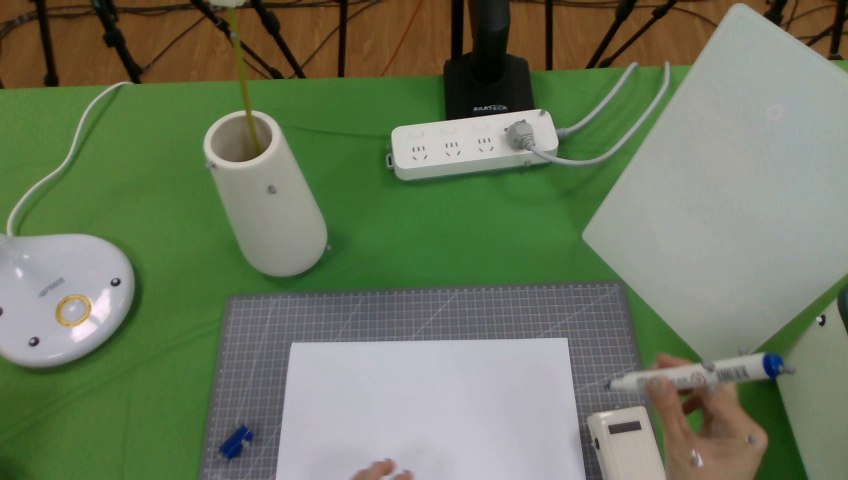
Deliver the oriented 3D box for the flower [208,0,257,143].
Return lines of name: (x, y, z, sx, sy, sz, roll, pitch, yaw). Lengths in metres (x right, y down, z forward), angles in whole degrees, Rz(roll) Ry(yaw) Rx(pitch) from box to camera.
flower: (-0.163, -0.104, 0.574, 0.038, 0.365, 0.043, -12, 42, -14)

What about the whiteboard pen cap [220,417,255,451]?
whiteboard pen cap: (-0.185, 0.191, 0.600, 0.018, 0.018, 0.033, 34, 67, 19)

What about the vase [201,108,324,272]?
vase: (-0.168, -0.046, 0.636, 0.098, 0.201, 0.097, -1, 59, 2)

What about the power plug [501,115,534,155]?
power plug: (0.113, -0.121, 0.744, 0.035, 0.053, 0.072, 1, 61, 2)

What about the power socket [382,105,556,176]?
power socket: (0.059, -0.128, 0.775, 0.227, 0.033, 0.071, -7, 61, -4)

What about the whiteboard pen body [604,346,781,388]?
whiteboard pen body: (0.178, 0.092, 0.423, 0.017, 0.140, 0.017, 11, 67, -28)

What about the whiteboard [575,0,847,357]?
whiteboard: (0.333, -0.053, 0.606, 0.144, 0.307, 0.215, -22, 59, -33)

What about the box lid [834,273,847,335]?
box lid: (0.481, 0.176, 0.432, 0.263, 0.015, 0.368, -3, 61, -1)

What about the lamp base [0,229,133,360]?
lamp base: (-0.421, 0.013, 0.615, 0.178, 0.182, 0.160, 27, 63, 19)

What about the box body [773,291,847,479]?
box body: (0.482, 0.216, 0.495, 0.254, 0.162, 0.360, -3, 60, -1)

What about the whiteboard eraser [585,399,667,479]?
whiteboard eraser: (0.193, 0.210, 0.570, 0.055, 0.042, 0.111, -7, 60, -5)
